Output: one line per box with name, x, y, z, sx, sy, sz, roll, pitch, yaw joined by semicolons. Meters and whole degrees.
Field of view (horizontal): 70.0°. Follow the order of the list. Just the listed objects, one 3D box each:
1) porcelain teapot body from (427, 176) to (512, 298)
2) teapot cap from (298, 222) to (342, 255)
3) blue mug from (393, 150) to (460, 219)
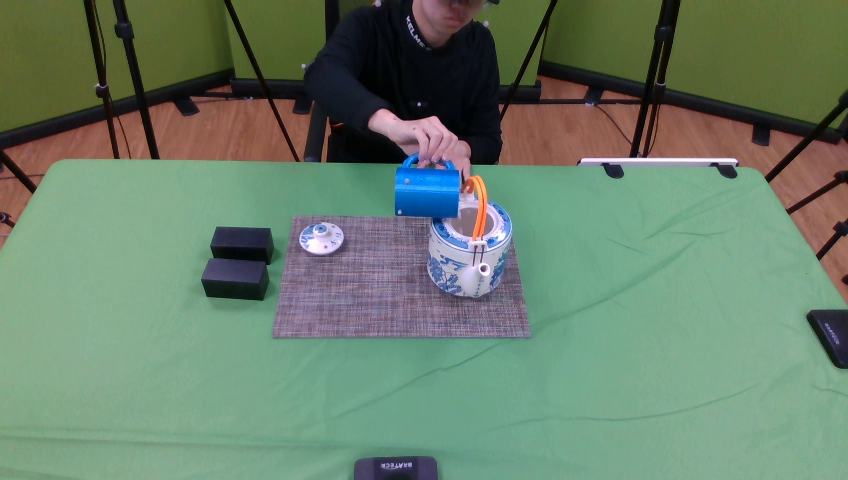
porcelain teapot body;0.085;0.010;1.051;0.145;0.226;0.204;-5;47;-8
teapot cap;-0.201;-0.008;1.171;0.085;0.044;0.084;1;48;-1
blue mug;0.005;-0.096;1.019;0.106;0.082;0.116;3;78;0
